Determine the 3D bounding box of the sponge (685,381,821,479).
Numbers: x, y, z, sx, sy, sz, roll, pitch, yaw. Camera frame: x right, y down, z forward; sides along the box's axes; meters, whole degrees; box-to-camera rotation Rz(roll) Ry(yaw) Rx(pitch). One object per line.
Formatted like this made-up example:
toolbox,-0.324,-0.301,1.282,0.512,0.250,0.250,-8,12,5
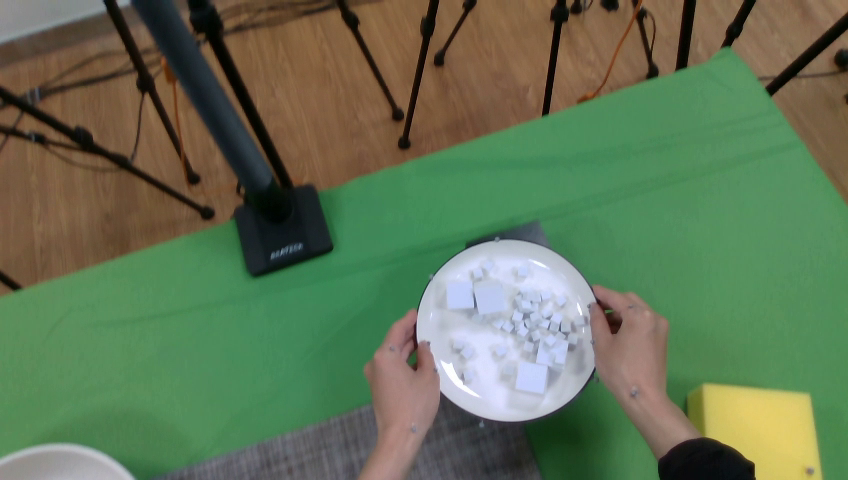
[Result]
sponge,0.359,0.267,0.661,0.118,0.061,0.205,3,66,6

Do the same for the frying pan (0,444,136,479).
frying pan,-0.382,0.457,0.604,0.307,0.104,0.482,-20,58,-3

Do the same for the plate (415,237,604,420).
plate,0.095,0.099,0.687,0.207,0.039,0.206,-2,71,6
